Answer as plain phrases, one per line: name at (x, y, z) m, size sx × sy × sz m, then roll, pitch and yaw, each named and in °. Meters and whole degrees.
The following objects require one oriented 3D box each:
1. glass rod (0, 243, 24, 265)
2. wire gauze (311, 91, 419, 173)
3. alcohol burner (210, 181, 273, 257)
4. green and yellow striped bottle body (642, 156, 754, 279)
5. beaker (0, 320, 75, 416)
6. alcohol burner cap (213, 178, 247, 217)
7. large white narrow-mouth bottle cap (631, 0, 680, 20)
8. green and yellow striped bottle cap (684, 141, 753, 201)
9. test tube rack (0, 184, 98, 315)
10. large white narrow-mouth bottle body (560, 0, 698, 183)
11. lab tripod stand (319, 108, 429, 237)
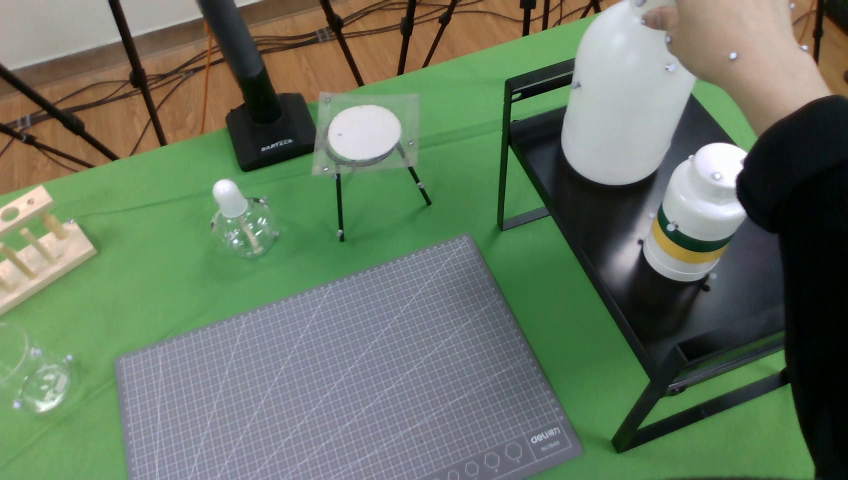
glass rod at (-0.535, -0.028, 0.699) m, size 0.008 × 0.202 × 0.008 m, roll -6°, pitch 53°, yaw 9°
wire gauze at (-0.067, -0.130, 0.707) m, size 0.121 × 0.011 × 0.124 m, roll -1°, pitch 58°, yaw 1°
alcohol burner at (-0.229, -0.032, 0.747) m, size 0.078 × 0.120 × 0.077 m, roll -1°, pitch 55°, yaw 2°
green and yellow striped bottle body at (0.223, -0.023, 0.493) m, size 0.063 × 0.121 × 0.062 m, roll -2°, pitch 57°, yaw 3°
beaker at (-0.437, 0.145, 0.653) m, size 0.074 × 0.101 × 0.083 m, roll -7°, pitch 57°, yaw 0°
alcohol burner cap at (-0.233, -0.053, 0.716) m, size 0.034 × 0.048 × 0.033 m, roll -1°, pitch 56°, yaw 2°
large white narrow-mouth bottle cap at (0.175, -0.185, 0.452) m, size 0.038 × 0.024 × 0.037 m, roll -1°, pitch 60°, yaw 2°
green and yellow striped bottle cap at (0.219, -0.052, 0.450) m, size 0.045 × 0.020 × 0.045 m, roll -1°, pitch 58°, yaw 1°
test tube rack at (-0.540, 0.043, 0.733) m, size 0.242 × 0.086 × 0.066 m, roll -38°, pitch 62°, yaw -20°
large white narrow-mouth bottle body at (0.179, -0.142, 0.528) m, size 0.102 × 0.196 × 0.101 m, roll -1°, pitch 60°, yaw 3°
lab tripod stand at (-0.069, -0.089, 0.761) m, size 0.148 × 0.132 × 0.147 m, roll -1°, pitch 56°, yaw 2°
